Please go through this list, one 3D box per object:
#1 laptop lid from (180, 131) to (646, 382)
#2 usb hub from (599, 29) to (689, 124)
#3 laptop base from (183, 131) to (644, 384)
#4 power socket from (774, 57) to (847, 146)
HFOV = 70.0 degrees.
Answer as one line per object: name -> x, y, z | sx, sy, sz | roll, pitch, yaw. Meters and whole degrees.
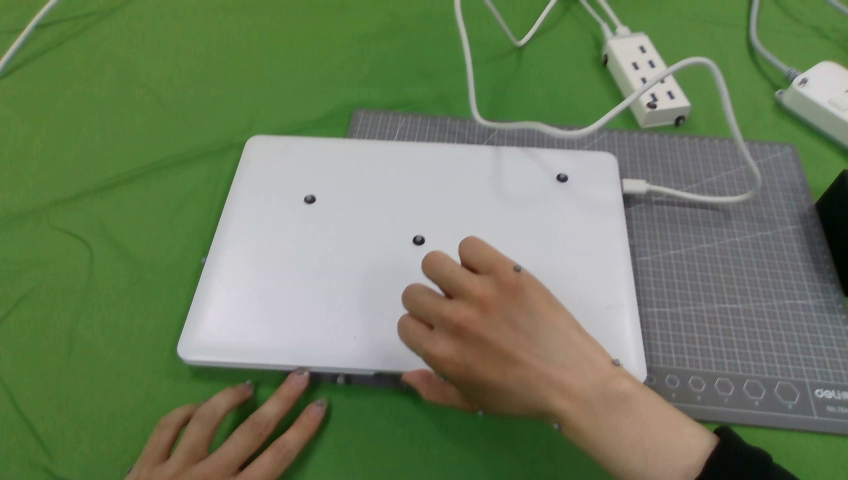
laptop lid -> -0.003, -0.001, 0.511 | 0.356, 0.013, 0.239 | 4, 56, 3
usb hub -> 0.233, -0.178, 0.650 | 0.049, 0.025, 0.124 | -9, 55, -6
laptop base -> -0.003, 0.005, 0.523 | 0.354, 0.023, 0.233 | 3, 58, 2
power socket -> 0.462, -0.106, 0.596 | 0.072, 0.033, 0.224 | -30, 60, -21
